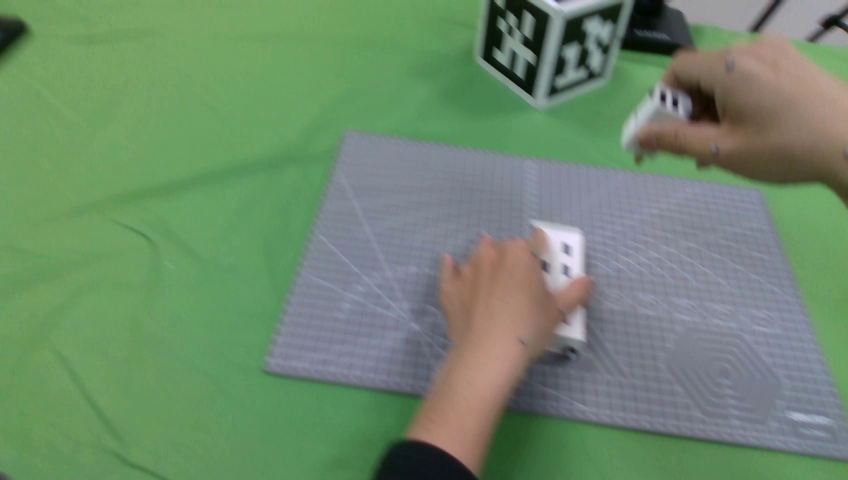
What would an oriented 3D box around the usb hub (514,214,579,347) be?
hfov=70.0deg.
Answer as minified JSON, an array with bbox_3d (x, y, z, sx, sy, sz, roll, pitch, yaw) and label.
[{"bbox_3d":[0.107,0.031,0.522,0.049,0.025,0.124,9,48,5],"label":"usb hub"}]

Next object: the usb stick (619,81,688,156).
[{"bbox_3d":[0.152,-0.080,0.414,0.027,0.059,0.021,14,61,-5],"label":"usb stick"}]
